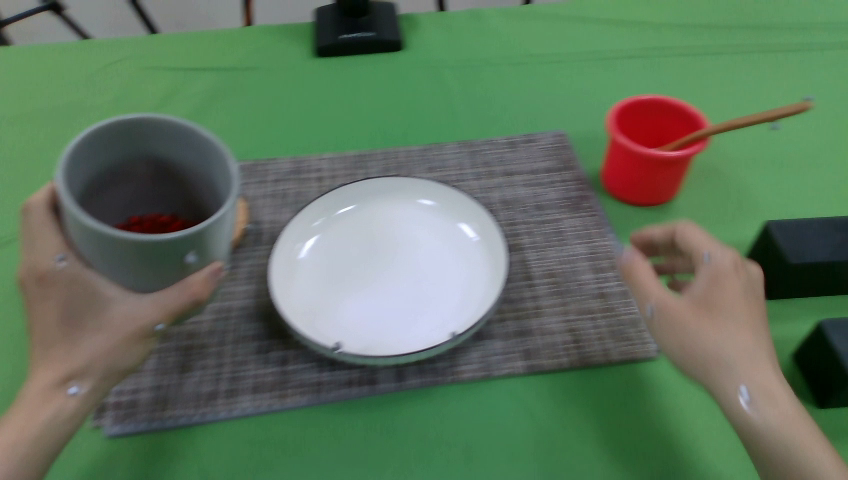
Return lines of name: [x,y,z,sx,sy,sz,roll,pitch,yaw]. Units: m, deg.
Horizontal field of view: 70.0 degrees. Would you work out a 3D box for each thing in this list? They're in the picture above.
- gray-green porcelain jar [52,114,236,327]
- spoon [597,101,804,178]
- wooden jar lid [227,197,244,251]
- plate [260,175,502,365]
gray-green porcelain jar: [-0.193,-0.006,0.427,0.106,0.127,0.105,12,50,-15]
spoon: [0.251,-0.094,0.573,0.193,0.022,0.041,-20,27,49]
wooden jar lid: [-0.227,-0.011,0.582,0.108,0.021,0.107,0,47,0]
plate: [-0.036,0.025,0.536,0.208,0.039,0.205,0,48,0]
